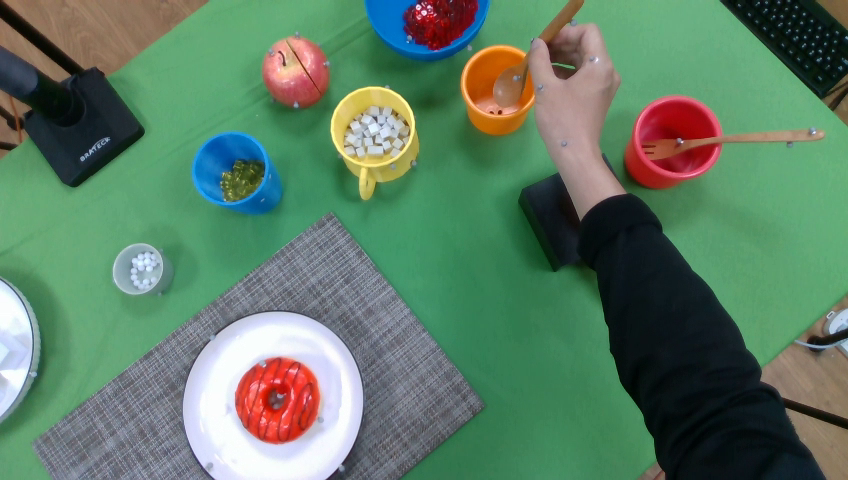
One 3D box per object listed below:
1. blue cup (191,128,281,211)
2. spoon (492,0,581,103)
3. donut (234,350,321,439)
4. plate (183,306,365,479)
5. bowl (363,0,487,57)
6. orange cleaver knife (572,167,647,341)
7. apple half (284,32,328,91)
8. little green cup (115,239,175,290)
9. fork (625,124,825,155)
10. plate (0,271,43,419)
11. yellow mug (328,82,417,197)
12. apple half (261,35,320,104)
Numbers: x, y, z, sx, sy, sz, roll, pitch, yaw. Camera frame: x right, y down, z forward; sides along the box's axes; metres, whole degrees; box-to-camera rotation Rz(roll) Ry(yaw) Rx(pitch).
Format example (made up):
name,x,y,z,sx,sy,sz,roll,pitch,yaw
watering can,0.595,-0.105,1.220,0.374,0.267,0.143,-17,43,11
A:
name,x,y,z,sx,sy,sz,roll,pitch,yaw
blue cup,-0.212,-0.074,0.714,0.092,0.100,0.092,0,81,1
spoon,0.110,-0.192,0.615,0.022,0.194,0.041,-16,83,-15
donut,-0.165,0.174,0.685,0.099,0.048,0.098,-1,82,4
plate,-0.168,0.180,0.696,0.209,0.038,0.208,0,80,3
bowl,0.004,-0.287,0.750,0.151,0.077,0.151,0,81,3
orange cleaver knife,0.208,0.017,0.686,0.012,0.076,0.212,-24,109,1
apple half,-0.137,-0.224,0.748,0.033,0.081,0.081,-33,80,-2
little green cup,-0.335,0.033,0.733,0.061,0.039,0.061,-1,80,4
fork,0.322,-0.113,0.670,0.206,0.019,0.028,1,62,46
plate,-0.555,0.131,0.728,0.207,0.039,0.207,0,80,3
yellow mug,-0.063,-0.116,0.730,0.100,0.064,0.130,9,82,5
apple half,-0.170,-0.202,0.747,0.053,0.075,0.080,-33,83,0
